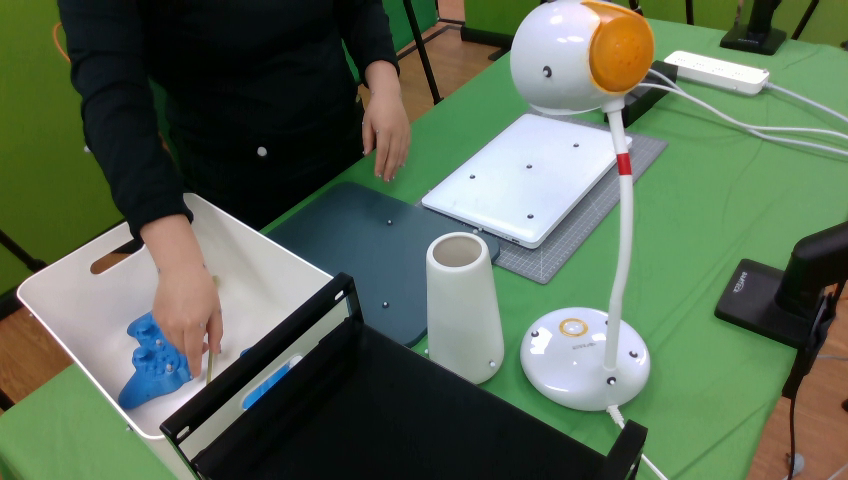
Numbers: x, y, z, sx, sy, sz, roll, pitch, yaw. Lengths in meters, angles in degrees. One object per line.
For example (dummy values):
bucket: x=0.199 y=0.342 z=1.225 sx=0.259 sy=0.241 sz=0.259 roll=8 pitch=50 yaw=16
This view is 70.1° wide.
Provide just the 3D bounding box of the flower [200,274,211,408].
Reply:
flower: x=-0.293 y=0.162 z=0.817 sx=0.044 sy=0.038 sz=0.358 roll=4 pitch=35 yaw=-26

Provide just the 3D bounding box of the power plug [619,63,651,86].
power plug: x=0.435 y=-0.341 z=1.266 sx=0.035 sy=0.053 sz=0.072 roll=5 pitch=31 yaw=-14

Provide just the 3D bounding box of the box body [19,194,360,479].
box body: x=-0.288 y=0.118 z=0.772 sx=0.361 sy=0.161 sz=0.255 roll=26 pitch=50 yaw=33

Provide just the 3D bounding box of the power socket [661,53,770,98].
power socket: x=0.617 y=-0.355 z=1.292 sx=0.225 sy=0.033 sz=0.072 roll=29 pitch=53 yaw=35

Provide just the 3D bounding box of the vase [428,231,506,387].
vase: x=0.050 y=0.087 z=0.728 sx=0.098 sy=0.201 sz=0.097 roll=-3 pitch=40 yaw=3

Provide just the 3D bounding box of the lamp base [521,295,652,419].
lamp base: x=0.200 y=0.095 z=0.710 sx=0.161 sy=0.181 sz=0.178 roll=-16 pitch=43 yaw=-10

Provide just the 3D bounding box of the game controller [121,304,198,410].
game controller: x=-0.364 y=0.150 z=0.829 sx=0.097 sy=0.052 sz=0.154 roll=-13 pitch=41 yaw=-9

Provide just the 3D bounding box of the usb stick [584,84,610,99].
usb stick: x=0.354 y=-0.306 z=1.252 sx=0.027 sy=0.021 sz=0.058 roll=-3 pitch=1 yaw=-39

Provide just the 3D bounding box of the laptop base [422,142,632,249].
laptop base: x=0.192 y=-0.117 z=1.087 sx=0.233 sy=0.023 sz=0.355 roll=21 pitch=47 yaw=34

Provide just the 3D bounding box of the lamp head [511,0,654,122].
lamp head: x=0.155 y=-0.168 z=0.563 sx=0.113 sy=0.113 sz=0.122 roll=-18 pitch=23 yaw=-12

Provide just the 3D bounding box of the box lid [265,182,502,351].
box lid: x=-0.087 y=0.023 z=0.971 sx=0.368 sy=0.015 sz=0.264 roll=23 pitch=49 yaw=31

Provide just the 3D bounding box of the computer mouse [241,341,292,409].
computer mouse: x=-0.201 y=0.177 z=0.775 sx=0.063 sy=0.041 sz=0.116 roll=-11 pitch=44 yaw=-8

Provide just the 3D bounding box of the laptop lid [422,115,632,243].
laptop lid: x=0.189 y=-0.126 z=1.081 sx=0.239 sy=0.013 sz=0.358 roll=23 pitch=48 yaw=34
